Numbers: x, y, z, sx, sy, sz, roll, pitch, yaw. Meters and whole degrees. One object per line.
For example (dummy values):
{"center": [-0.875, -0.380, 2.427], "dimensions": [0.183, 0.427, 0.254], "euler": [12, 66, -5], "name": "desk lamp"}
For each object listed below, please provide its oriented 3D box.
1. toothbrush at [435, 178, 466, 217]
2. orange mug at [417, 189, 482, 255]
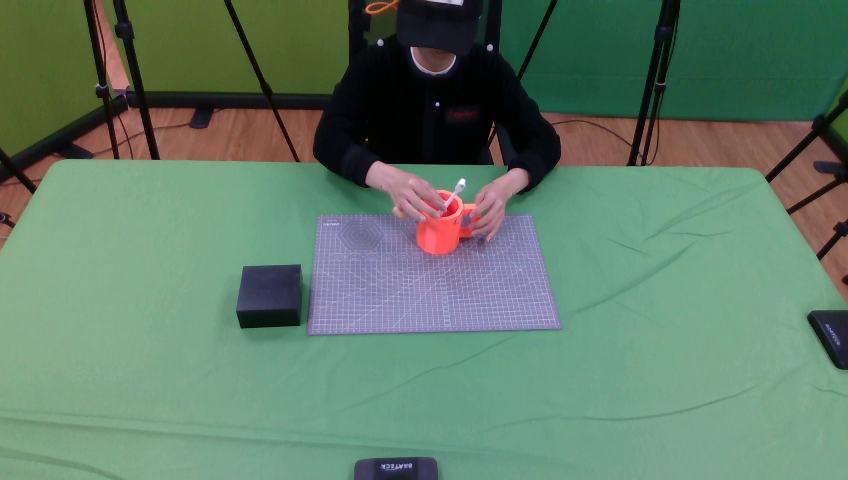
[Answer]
{"center": [0.036, -0.058, 1.129], "dimensions": [0.014, 0.182, 0.016], "euler": [19, 53, -14], "name": "toothbrush"}
{"center": [0.049, -0.037, 1.176], "dimensions": [0.126, 0.101, 0.083], "euler": [-7, 46, -4], "name": "orange mug"}
